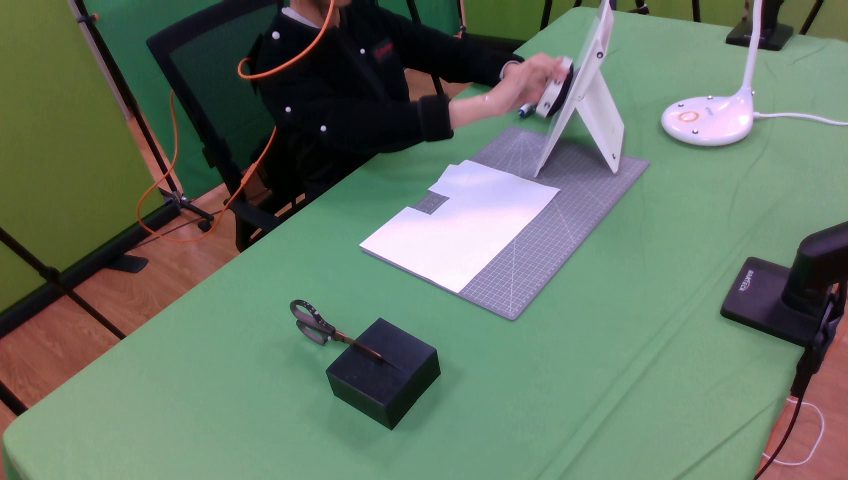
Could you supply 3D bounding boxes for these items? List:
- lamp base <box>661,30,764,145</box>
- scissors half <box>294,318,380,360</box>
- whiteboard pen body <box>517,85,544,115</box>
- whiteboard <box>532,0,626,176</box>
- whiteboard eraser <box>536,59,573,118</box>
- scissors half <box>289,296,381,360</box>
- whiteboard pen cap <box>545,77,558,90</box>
[{"bbox_3d":[0.535,-0.287,1.096,0.179,0.181,0.159,-10,40,-4],"label":"lamp base"},{"bbox_3d":[-0.118,0.135,0.809,0.173,0.040,0.013,9,38,44],"label":"scissors half"},{"bbox_3d":[0.241,-0.306,1.290,0.017,0.017,0.141,23,51,32],"label":"whiteboard pen body"},{"bbox_3d":[0.321,-0.259,1.050,0.144,0.306,0.217,21,45,5],"label":"whiteboard"},{"bbox_3d":[0.234,-0.268,1.071,0.042,0.055,0.112,24,51,1],"label":"whiteboard eraser"},{"bbox_3d":[-0.120,0.117,0.798,0.174,0.040,0.013,27,43,31],"label":"scissors half"},{"bbox_3d":[0.279,-0.341,1.321,0.018,0.018,0.033,22,51,31],"label":"whiteboard pen cap"}]
